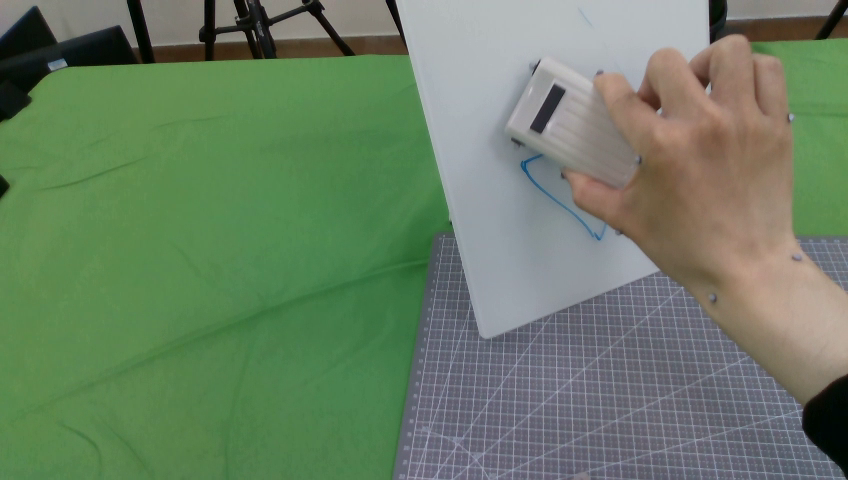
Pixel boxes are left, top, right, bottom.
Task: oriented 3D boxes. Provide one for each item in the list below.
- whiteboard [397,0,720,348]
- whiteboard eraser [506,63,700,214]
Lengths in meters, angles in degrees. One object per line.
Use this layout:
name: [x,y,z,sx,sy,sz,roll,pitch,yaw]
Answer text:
whiteboard: [0.093,-0.109,0.482,0.217,0.308,0.142,-20,27,-8]
whiteboard eraser: [0.114,-0.066,0.394,0.112,0.056,0.041,28,23,4]
